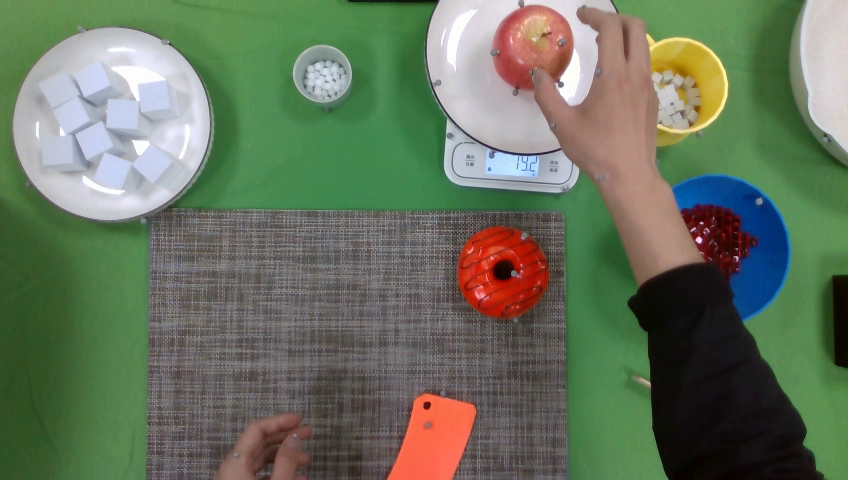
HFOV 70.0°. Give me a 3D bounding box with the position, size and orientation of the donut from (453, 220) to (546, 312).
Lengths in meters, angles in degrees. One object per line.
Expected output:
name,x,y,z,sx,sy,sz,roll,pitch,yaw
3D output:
donut,0.079,0.028,0.642,0.099,0.048,0.099,0,89,2

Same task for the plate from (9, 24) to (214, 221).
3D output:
plate,-0.325,-0.122,0.646,0.208,0.039,0.207,0,87,-1

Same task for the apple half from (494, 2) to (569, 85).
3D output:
apple half,0.113,-0.200,0.603,0.053,0.075,0.080,-44,86,-6

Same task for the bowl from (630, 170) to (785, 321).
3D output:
bowl,0.281,0.007,0.634,0.151,0.077,0.151,0,88,-1

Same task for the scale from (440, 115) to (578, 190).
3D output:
scale,0.097,-0.160,0.660,0.149,0.031,0.200,4,88,-1

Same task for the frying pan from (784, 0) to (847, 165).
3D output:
frying pan,0.570,-0.105,0.632,0.307,0.103,0.485,-27,80,-1

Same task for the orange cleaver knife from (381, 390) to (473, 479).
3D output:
orange cleaver knife,-0.019,0.255,0.641,0.077,0.012,0.211,29,85,-5

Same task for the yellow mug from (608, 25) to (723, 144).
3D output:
yellow mug,0.246,-0.172,0.646,0.100,0.064,0.130,-32,87,-2

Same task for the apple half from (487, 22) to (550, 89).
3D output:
apple half,0.085,-0.173,0.600,0.033,0.081,0.081,-45,89,-6

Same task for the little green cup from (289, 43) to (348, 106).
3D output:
little green cup,-0.110,-0.175,0.653,0.061,0.038,0.061,0,87,-1

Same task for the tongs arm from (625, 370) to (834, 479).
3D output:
tongs arm,0.385,0.241,0.649,0.387,0.028,0.028,31,80,0

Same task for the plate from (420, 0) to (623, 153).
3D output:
plate,0.099,-0.191,0.629,0.209,0.038,0.209,0,88,-2
